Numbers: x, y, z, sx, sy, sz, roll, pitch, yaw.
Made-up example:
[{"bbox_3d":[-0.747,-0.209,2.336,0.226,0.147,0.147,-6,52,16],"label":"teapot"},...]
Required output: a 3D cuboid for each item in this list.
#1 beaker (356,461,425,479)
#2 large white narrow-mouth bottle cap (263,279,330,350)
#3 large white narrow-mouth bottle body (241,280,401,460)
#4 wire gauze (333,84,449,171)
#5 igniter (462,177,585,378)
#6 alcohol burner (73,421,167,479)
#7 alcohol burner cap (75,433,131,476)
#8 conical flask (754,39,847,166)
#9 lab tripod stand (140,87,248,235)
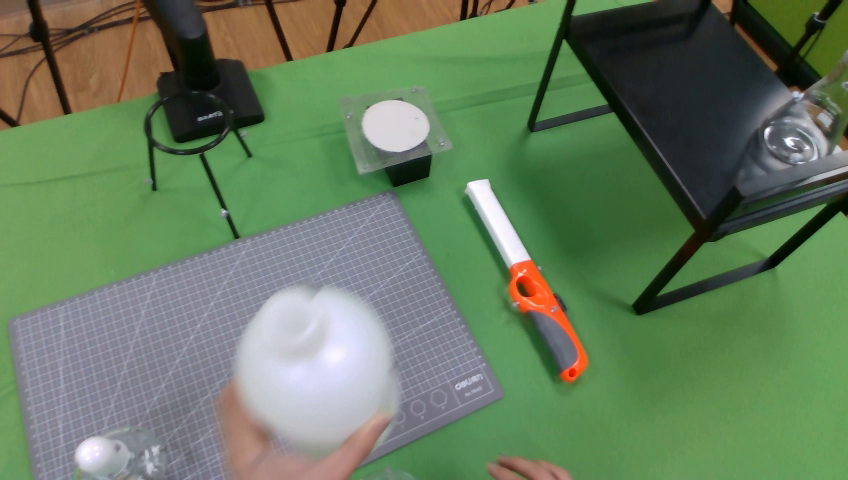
[{"bbox_3d":[-0.036,0.247,0.537,0.084,0.101,0.073,-15,61,-13],"label":"beaker"},{"bbox_3d":[-0.072,0.042,0.343,0.038,0.024,0.037,0,61,1],"label":"large white narrow-mouth bottle cap"},{"bbox_3d":[-0.070,0.085,0.418,0.102,0.196,0.101,-1,61,1],"label":"large white narrow-mouth bottle body"},{"bbox_3d":[-0.044,-0.148,0.767,0.122,0.011,0.124,-14,61,-13],"label":"wire gauze"},{"bbox_3d":[0.115,0.035,0.720,0.057,0.025,0.274,-12,61,-24],"label":"igniter"},{"bbox_3d":[-0.272,0.194,0.532,0.078,0.120,0.077,4,57,-5],"label":"alcohol burner"},{"bbox_3d":[-0.268,0.176,0.501,0.034,0.048,0.033,2,65,-3],"label":"alcohol burner cap"},{"bbox_3d":[0.384,-0.135,0.583,0.075,0.123,0.074,3,59,-4],"label":"conical flask"},{"bbox_3d":[-0.257,-0.094,0.697,0.148,0.132,0.147,4,59,-6],"label":"lab tripod stand"}]
